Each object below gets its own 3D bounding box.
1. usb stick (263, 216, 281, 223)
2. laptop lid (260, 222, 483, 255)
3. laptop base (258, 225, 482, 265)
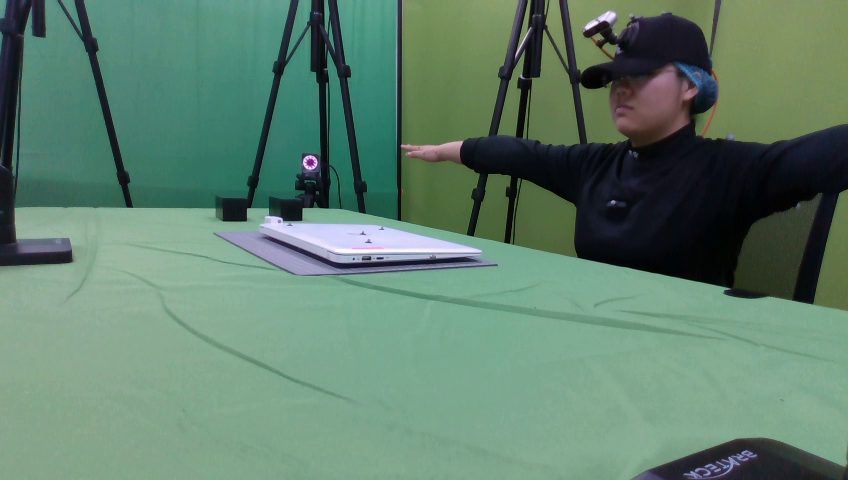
[{"bbox_3d":[-0.269,-0.028,1.080,0.021,0.027,0.059,-2,11,-30],"label":"usb stick"},{"bbox_3d":[-0.099,-0.005,0.962,0.243,0.013,0.355,1,7,-30],"label":"laptop lid"},{"bbox_3d":[-0.102,0.006,0.962,0.237,0.023,0.352,2,6,-32],"label":"laptop base"}]
